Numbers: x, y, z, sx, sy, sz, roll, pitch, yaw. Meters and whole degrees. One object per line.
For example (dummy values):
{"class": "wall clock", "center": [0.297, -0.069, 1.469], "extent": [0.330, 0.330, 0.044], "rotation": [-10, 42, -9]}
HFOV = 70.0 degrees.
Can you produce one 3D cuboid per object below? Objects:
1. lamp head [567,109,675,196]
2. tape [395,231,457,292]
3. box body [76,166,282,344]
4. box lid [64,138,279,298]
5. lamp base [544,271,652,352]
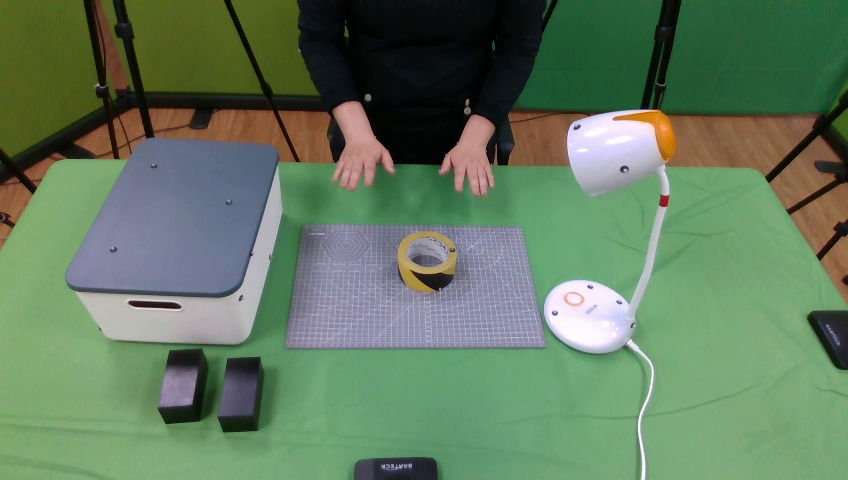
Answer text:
{"class": "lamp head", "center": [0.272, -0.123, 0.818], "extent": [0.122, 0.113, 0.112], "rotation": [-9, 35, 37]}
{"class": "tape", "center": [0.005, 0.039, 1.136], "extent": [0.117, 0.053, 0.116], "rotation": [2, 46, -1]}
{"class": "box body", "center": [-0.406, -0.002, 1.071], "extent": [0.254, 0.161, 0.361], "rotation": [2, 46, -2]}
{"class": "box lid", "center": [-0.404, -0.051, 1.016], "extent": [0.263, 0.015, 0.369], "rotation": [3, 46, -2]}
{"class": "lamp base", "center": [0.309, 0.086, 1.029], "extent": [0.178, 0.181, 0.160], "rotation": [32, 52, 21]}
